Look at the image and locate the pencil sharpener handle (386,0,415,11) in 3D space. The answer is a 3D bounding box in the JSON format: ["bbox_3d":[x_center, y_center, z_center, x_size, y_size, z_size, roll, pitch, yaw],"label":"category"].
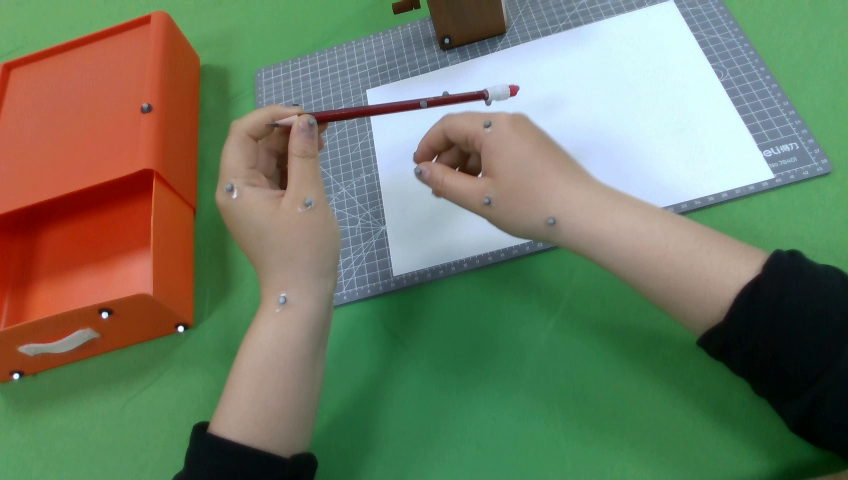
[{"bbox_3d":[-0.027,-0.238,0.555,0.030,0.068,0.035,-14,64,8],"label":"pencil sharpener handle"}]

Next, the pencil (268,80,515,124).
[{"bbox_3d":[-0.014,-0.096,0.419,0.195,0.012,0.012,-16,53,-29],"label":"pencil"}]

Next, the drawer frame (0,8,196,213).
[{"bbox_3d":[-0.331,-0.101,0.591,0.201,0.083,0.211,-17,58,6],"label":"drawer frame"}]

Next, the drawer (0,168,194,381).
[{"bbox_3d":[-0.307,-0.002,0.532,0.194,0.074,0.209,-17,58,6],"label":"drawer"}]

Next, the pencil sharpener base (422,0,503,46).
[{"bbox_3d":[0.025,-0.243,0.558,0.076,0.108,0.061,-14,59,8],"label":"pencil sharpener base"}]
